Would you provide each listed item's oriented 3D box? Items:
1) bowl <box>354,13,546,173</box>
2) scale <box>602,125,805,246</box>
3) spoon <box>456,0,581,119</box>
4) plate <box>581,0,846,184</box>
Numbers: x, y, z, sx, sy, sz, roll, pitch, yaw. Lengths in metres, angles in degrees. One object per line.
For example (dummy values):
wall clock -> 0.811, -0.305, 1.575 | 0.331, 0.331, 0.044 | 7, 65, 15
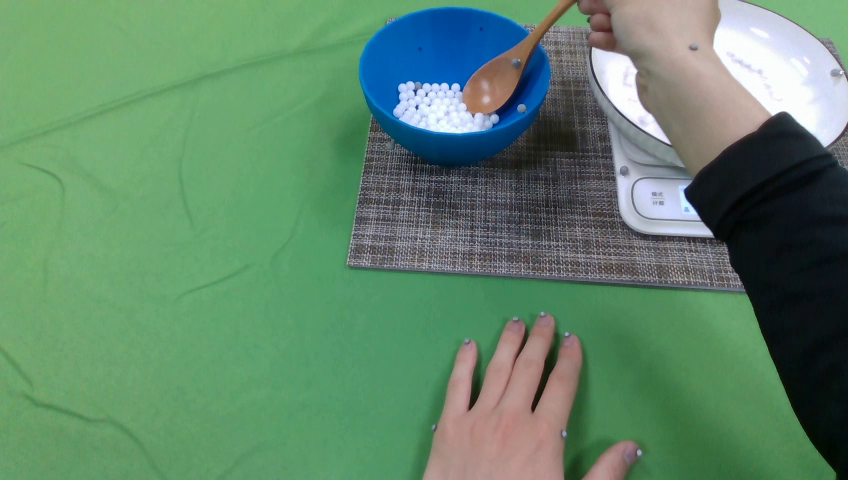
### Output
bowl -> 0.021, -0.110, 0.503 | 0.151, 0.077, 0.150 | 0, 55, 0
scale -> 0.229, -0.086, 0.517 | 0.148, 0.032, 0.199 | 3, 56, 2
spoon -> 0.094, -0.162, 0.463 | 0.022, 0.194, 0.041 | 0, 58, -47
plate -> 0.232, -0.123, 0.503 | 0.209, 0.038, 0.207 | 1, 56, -1
